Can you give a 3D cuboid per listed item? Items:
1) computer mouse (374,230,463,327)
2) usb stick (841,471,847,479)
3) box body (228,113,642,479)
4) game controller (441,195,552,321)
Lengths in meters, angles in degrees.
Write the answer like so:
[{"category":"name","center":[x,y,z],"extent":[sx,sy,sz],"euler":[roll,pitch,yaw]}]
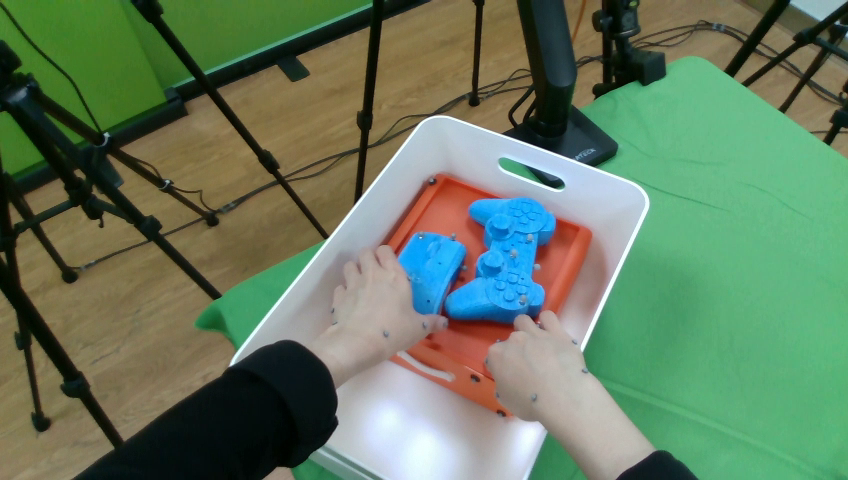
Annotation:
[{"category":"computer mouse","center":[-0.004,0.033,0.623],"extent":[0.062,0.041,0.116],"euler":[15,51,14]},{"category":"usb stick","center":[0.420,0.236,0.557],"extent":[0.021,0.027,0.058],"euler":[-25,61,-21]},{"category":"box body","center":[0.028,0.075,0.608],"extent":[0.253,0.162,0.362],"euler":[23,59,16]},{"category":"game controller","center":[0.079,0.013,0.630],"extent":[0.097,0.052,0.154],"euler":[12,56,6]}]
